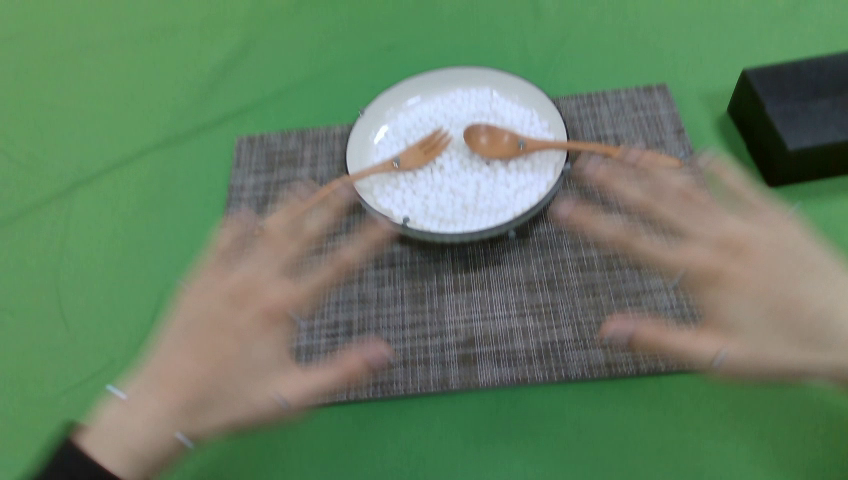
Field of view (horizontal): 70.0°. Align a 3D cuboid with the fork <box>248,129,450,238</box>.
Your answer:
[{"bbox_3d":[-0.064,-0.053,0.550,0.207,0.019,0.028,-28,56,-21],"label":"fork"}]

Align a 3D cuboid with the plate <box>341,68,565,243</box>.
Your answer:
[{"bbox_3d":[0.026,-0.080,0.574,0.209,0.038,0.207,-3,56,5],"label":"plate"}]

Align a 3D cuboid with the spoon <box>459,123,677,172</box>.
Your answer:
[{"bbox_3d":[0.123,-0.080,0.540,0.192,0.022,0.041,11,54,23],"label":"spoon"}]
